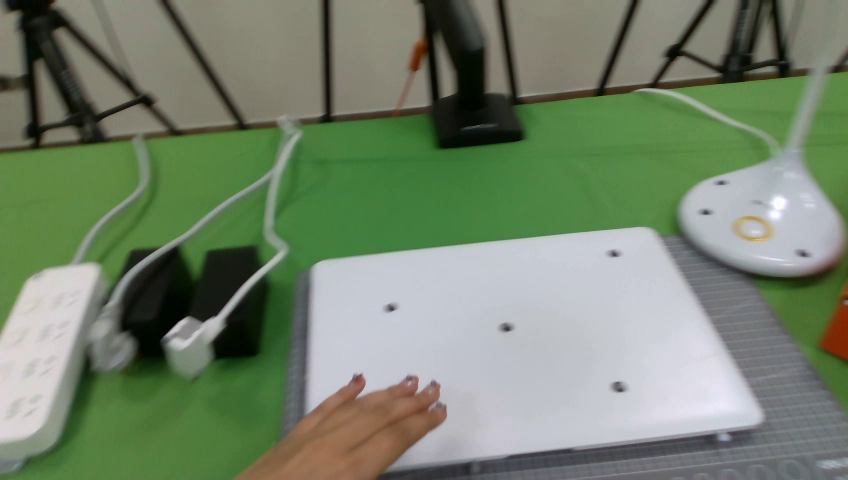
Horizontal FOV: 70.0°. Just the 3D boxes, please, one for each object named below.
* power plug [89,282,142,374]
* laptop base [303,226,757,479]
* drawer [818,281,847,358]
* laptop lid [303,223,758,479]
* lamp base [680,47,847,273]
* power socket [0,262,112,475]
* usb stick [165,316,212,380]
[{"bbox_3d":[-0.260,0.081,0.531,0.035,0.053,0.072,10,58,24],"label":"power plug"},{"bbox_3d":[0.074,0.086,0.545,0.354,0.023,0.233,-6,44,-3],"label":"laptop base"},{"bbox_3d":[0.477,0.052,0.509,0.192,0.074,0.211,28,50,33],"label":"drawer"},{"bbox_3d":[0.073,0.079,0.535,0.357,0.013,0.239,-5,43,-1],"label":"laptop lid"},{"bbox_3d":[0.358,-0.088,0.599,0.159,0.182,0.179,21,43,27],"label":"lamp base"},{"bbox_3d":[-0.345,0.101,0.549,0.072,0.033,0.224,-7,41,-5],"label":"power socket"},{"bbox_3d":[-0.192,0.092,0.498,0.021,0.059,0.027,22,45,13],"label":"usb stick"}]
